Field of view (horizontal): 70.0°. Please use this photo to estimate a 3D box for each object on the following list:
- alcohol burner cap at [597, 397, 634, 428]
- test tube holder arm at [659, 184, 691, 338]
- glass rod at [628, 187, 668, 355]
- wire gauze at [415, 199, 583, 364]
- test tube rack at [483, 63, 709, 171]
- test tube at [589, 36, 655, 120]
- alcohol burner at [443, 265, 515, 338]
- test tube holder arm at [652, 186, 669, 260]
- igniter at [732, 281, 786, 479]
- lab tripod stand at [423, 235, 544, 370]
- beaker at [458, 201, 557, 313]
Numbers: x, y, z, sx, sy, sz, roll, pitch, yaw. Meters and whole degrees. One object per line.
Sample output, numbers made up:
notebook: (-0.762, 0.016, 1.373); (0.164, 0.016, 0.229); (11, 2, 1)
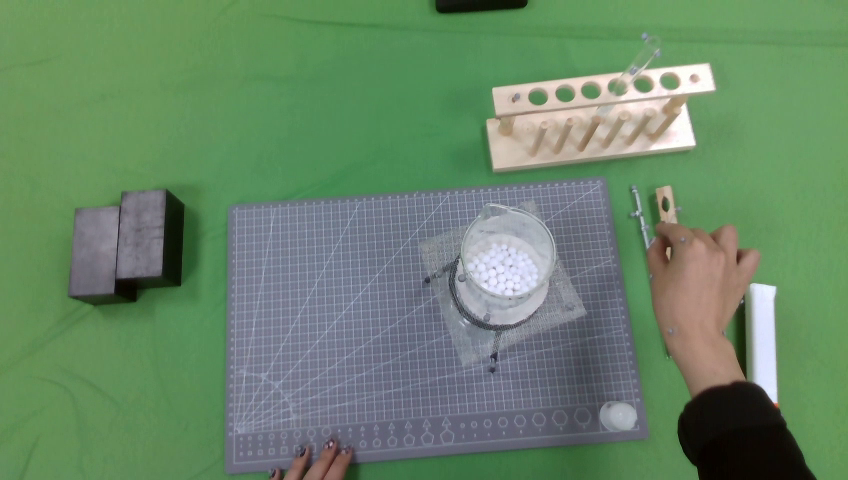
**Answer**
alcohol burner cap: (0.203, 0.180, 0.634); (0.034, 0.048, 0.033); (0, 73, 1)
test tube holder arm: (0.286, 0.022, 0.692); (0.013, 0.015, 0.177); (-13, 73, 31)
glass rod: (0.256, 0.032, 0.696); (0.008, 0.008, 0.198); (-6, 74, -2)
wire gauze: (0.068, 0.035, 0.560); (0.121, 0.011, 0.124); (-21, 76, -2)
test tube rack: (0.196, -0.140, 0.704); (0.242, 0.085, 0.066); (-7, 74, -1)
test tube: (0.212, -0.171, 0.662); (0.017, 0.151, 0.017); (2, 73, -5)
alcohol burner: (0.058, 0.060, 0.631); (0.078, 0.120, 0.077); (0, 72, 1)
test tube holder arm: (0.278, -0.020, 0.706); (0.010, 0.015, 0.087); (-13, 73, 31)
igniter: (0.355, 0.180, 0.645); (0.057, 0.025, 0.275); (9, 74, -8)
lab tripod stand: (0.064, 0.055, 0.622); (0.148, 0.132, 0.147); (0, 75, 2)
beaker: (0.065, 0.019, 0.514); (0.074, 0.101, 0.083); (-19, 74, -3)
